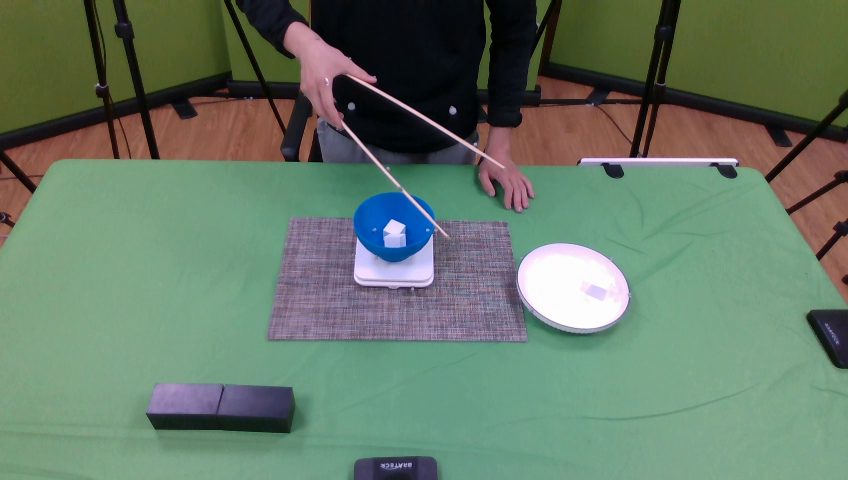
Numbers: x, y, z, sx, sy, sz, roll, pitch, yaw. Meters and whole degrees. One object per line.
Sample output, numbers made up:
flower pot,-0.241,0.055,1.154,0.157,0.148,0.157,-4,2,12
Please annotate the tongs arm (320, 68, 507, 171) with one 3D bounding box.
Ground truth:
tongs arm,-0.023,-0.209,1.027,0.386,0.028,0.028,33,8,20

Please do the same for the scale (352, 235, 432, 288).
scale,-0.060,0.010,1.171,0.149,0.032,0.199,2,46,-3

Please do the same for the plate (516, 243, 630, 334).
plate,0.272,0.092,1.120,0.208,0.039,0.206,2,46,-2

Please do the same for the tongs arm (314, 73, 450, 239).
tongs arm,-0.072,-0.150,1.035,0.051,0.026,0.383,-47,71,9

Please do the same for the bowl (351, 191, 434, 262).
bowl,-0.057,-0.013,1.119,0.151,0.077,0.150,1,46,-1
